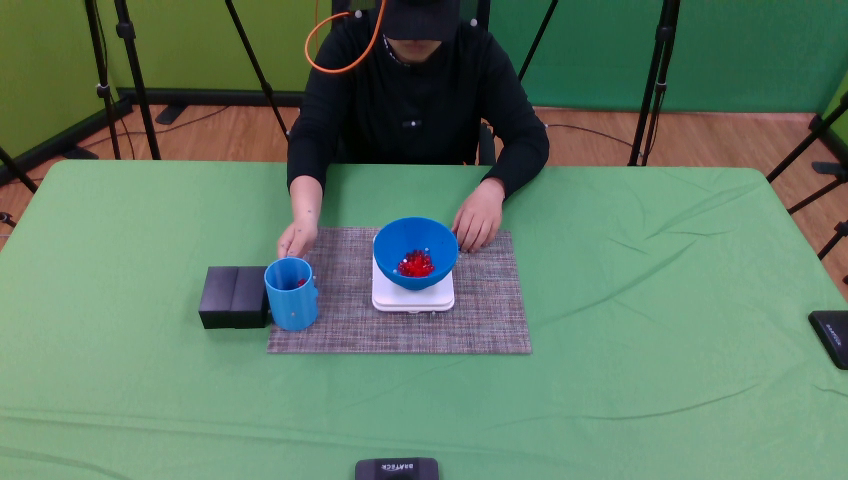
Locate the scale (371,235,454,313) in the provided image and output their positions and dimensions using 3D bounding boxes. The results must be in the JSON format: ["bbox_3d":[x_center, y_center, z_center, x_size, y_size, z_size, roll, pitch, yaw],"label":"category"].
[{"bbox_3d":[-0.022,0.051,1.134,0.149,0.032,0.199,1,46,-4],"label":"scale"}]

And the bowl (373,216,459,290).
[{"bbox_3d":[-0.015,0.036,1.075,0.151,0.077,0.150,1,46,-1],"label":"bowl"}]

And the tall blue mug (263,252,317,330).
[{"bbox_3d":[-0.233,0.082,1.036,0.078,0.108,0.106,-25,52,-24],"label":"tall blue mug"}]
